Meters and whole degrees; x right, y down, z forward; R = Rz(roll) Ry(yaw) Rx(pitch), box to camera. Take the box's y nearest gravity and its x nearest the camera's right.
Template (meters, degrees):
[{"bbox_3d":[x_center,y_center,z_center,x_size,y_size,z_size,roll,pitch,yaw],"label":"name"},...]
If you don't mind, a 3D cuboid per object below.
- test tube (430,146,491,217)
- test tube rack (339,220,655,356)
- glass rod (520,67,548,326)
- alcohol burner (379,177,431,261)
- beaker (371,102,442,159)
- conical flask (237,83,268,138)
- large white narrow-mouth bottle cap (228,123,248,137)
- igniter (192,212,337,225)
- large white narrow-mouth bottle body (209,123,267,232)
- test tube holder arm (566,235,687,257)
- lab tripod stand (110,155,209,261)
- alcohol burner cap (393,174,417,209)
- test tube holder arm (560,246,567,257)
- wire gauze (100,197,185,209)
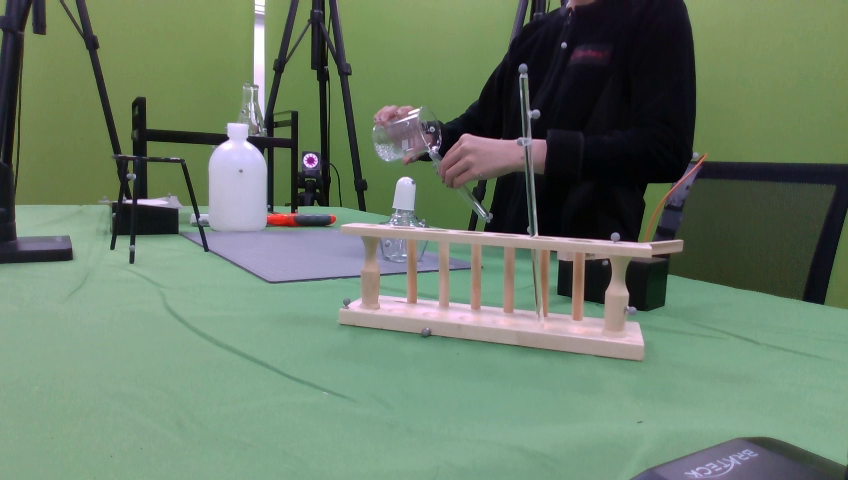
[{"bbox_3d":[0.058,-0.093,0.962,0.017,0.017,0.149,-9,55,-54],"label":"test tube"},{"bbox_3d":[0.056,0.032,0.495,0.242,0.085,0.067,4,7,15],"label":"test tube rack"},{"bbox_3d":[0.084,-0.029,0.458,0.008,0.199,0.008,-6,11,2],"label":"glass rod"},{"bbox_3d":[-0.027,-0.031,0.838,0.078,0.119,0.078,0,6,0],"label":"alcohol burner"},{"bbox_3d":[-0.030,-0.177,1.010,0.100,0.084,0.074,-11,-1,30],"label":"beaker"},{"bbox_3d":[-0.402,-0.299,1.406,0.075,0.122,0.075,2,7,0],"label":"conical flask"},{"bbox_3d":[-0.338,-0.199,1.097,0.038,0.024,0.037,2,8,0],"label":"large white narrow-mouth bottle cap"},{"bbox_3d":[-0.311,-0.043,1.203,0.278,0.025,0.057,-1,-5,-25],"label":"igniter"},{"bbox_3d":[-0.340,-0.115,1.109,0.102,0.194,0.102,2,8,0],"label":"large white narrow-mouth bottle body"},{"bbox_3d":[0.215,0.006,0.630,0.179,0.015,0.013,-3,9,-31],"label":"test tube holder arm"},{"bbox_3d":[-0.361,-0.046,0.806,0.148,0.131,0.148,2,5,0],"label":"lab tripod stand"},{"bbox_3d":[-0.025,-0.067,0.834,0.034,0.048,0.034,8,7,-1],"label":"alcohol burner cap"},{"bbox_3d":[0.173,0.007,0.611,0.088,0.015,0.010,-3,9,-30],"label":"test tube holder arm"},{"bbox_3d":[-0.469,-0.062,1.008,0.126,0.011,0.121,-2,8,-25],"label":"wire gauze"}]
